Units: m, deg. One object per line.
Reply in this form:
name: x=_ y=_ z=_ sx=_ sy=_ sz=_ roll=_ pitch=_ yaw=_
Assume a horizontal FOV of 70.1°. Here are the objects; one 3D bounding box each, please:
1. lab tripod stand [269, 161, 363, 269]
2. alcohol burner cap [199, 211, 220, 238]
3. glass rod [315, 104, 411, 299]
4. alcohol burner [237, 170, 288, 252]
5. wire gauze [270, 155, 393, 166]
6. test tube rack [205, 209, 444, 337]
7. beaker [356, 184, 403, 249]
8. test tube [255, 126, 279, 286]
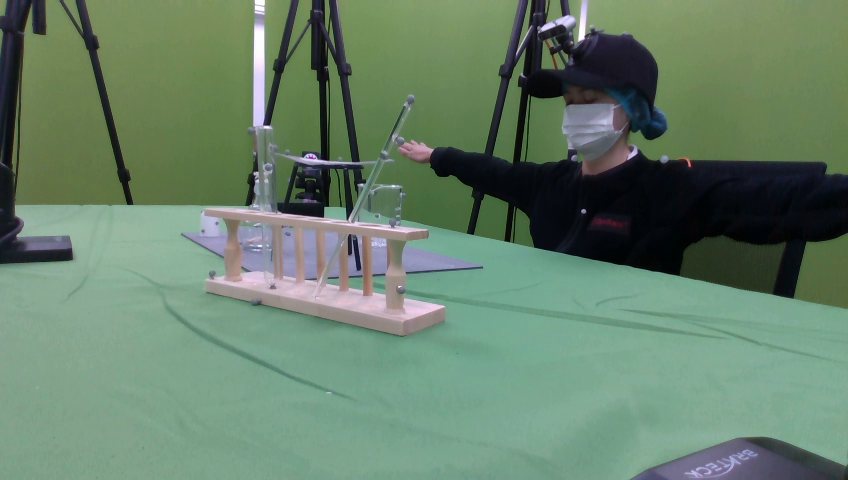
lab tripod stand: x=-0.125 y=-0.036 z=0.794 sx=0.148 sy=0.131 sz=0.148 roll=5 pitch=7 yaw=0
alcohol burner cap: x=-0.356 y=-0.027 z=1.002 sx=0.034 sy=0.048 sz=0.034 roll=2 pitch=7 yaw=0
glass rod: x=-0.054 y=-0.026 z=0.516 sx=0.008 sy=0.199 sz=0.008 roll=23 pitch=24 yaw=-11
alcohol burner: x=-0.236 y=-0.042 z=0.882 sx=0.078 sy=0.119 sz=0.078 roll=2 pitch=9 yaw=0
wire gauze: x=-0.121 y=-0.102 z=0.785 sx=0.122 sy=0.011 sz=0.124 roll=-3 pitch=10 yaw=-39
test tube rack: x=-0.100 y=0.021 z=0.565 sx=0.241 sy=0.085 sz=0.067 roll=7 pitch=8 yaw=32
beaker: x=-0.074 y=-0.039 z=0.975 sx=0.074 sy=0.100 sz=0.084 roll=4 pitch=8 yaw=12
test tube: x=-0.147 y=-0.031 z=0.566 sx=0.017 sy=0.150 sz=0.017 roll=-1 pitch=8 yaw=0
